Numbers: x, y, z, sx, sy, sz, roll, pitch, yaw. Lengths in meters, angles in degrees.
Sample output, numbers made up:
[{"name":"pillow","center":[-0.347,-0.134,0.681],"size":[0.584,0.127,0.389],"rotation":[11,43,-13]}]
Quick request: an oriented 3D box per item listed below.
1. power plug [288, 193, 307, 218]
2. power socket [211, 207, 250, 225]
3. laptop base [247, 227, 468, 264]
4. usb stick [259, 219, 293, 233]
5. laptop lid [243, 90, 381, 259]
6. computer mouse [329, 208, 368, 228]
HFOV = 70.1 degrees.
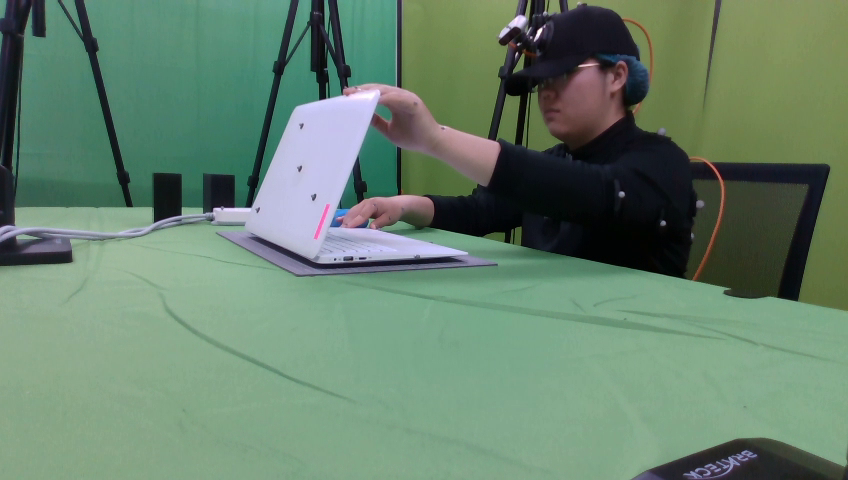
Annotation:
[{"name":"power plug","center":[-0.281,-0.076,1.340],"size":[0.035,0.052,0.072],"rotation":[3,6,-18]},{"name":"power socket","center":[-0.334,-0.051,1.282],"size":[0.228,0.032,0.072],"rotation":[-1,9,-27]},{"name":"laptop base","center":[-0.122,0.006,0.954],"size":[0.237,0.023,0.352],"rotation":[2,6,-31]},{"name":"usb stick","center":[-0.272,-0.026,1.108],"size":[0.059,0.027,0.021],"rotation":[-3,9,-27]},{"name":"laptop lid","center":[-0.182,-0.105,0.900],"size":[0.013,0.241,0.355],"rotation":[24,-4,-31]},{"name":"computer mouse","center":[-0.179,-0.045,1.275],"size":[0.118,0.041,0.062],"rotation":[-6,13,-29]}]
